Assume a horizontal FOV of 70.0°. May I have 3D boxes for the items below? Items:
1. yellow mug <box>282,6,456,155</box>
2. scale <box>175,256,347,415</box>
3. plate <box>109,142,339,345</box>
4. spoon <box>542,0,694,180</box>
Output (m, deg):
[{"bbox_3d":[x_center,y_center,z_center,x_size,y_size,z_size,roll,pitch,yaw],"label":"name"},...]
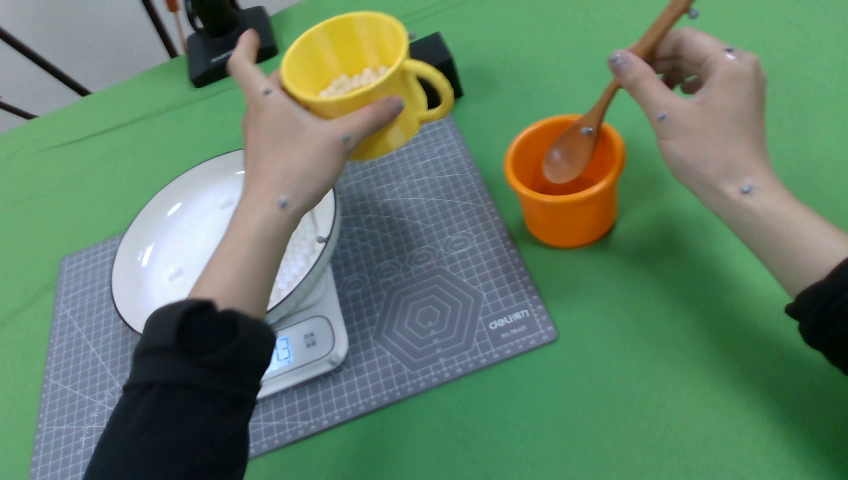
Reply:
[{"bbox_3d":[-0.037,-0.123,0.470,0.130,0.064,0.099,9,59,20],"label":"yellow mug"},{"bbox_3d":[-0.154,0.041,0.539,0.148,0.032,0.198,-22,52,3],"label":"scale"},{"bbox_3d":[-0.170,0.002,0.532,0.209,0.038,0.207,-8,53,11],"label":"plate"},{"bbox_3d":[0.137,-0.111,0.429,0.022,0.194,0.041,-7,60,-25],"label":"spoon"}]
